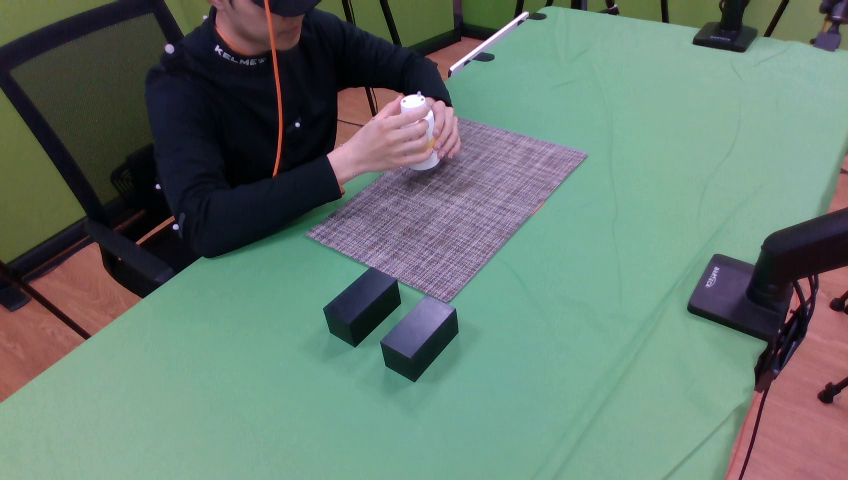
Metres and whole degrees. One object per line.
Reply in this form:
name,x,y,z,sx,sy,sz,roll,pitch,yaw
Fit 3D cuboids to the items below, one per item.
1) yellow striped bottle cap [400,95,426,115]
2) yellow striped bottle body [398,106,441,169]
yellow striped bottle cap,-0.019,-0.229,1.025,0.044,0.019,0.044,-6,38,5
yellow striped bottle body,-0.009,-0.190,1.061,0.063,0.121,0.062,-7,41,7
